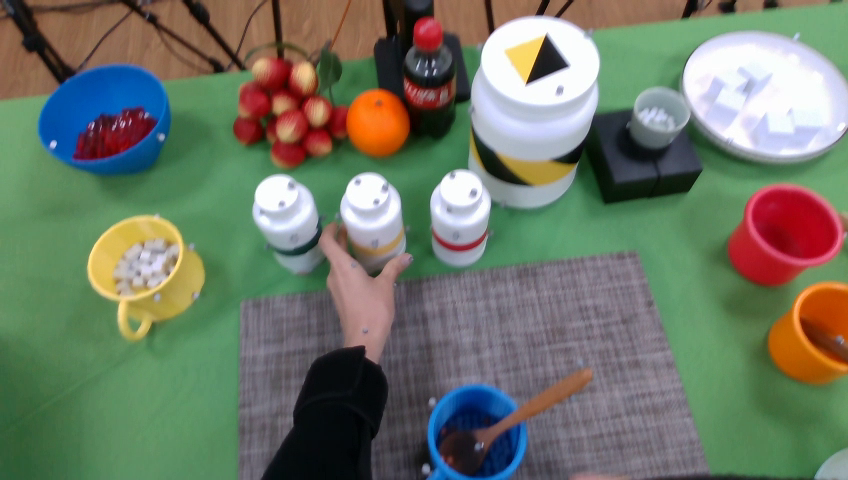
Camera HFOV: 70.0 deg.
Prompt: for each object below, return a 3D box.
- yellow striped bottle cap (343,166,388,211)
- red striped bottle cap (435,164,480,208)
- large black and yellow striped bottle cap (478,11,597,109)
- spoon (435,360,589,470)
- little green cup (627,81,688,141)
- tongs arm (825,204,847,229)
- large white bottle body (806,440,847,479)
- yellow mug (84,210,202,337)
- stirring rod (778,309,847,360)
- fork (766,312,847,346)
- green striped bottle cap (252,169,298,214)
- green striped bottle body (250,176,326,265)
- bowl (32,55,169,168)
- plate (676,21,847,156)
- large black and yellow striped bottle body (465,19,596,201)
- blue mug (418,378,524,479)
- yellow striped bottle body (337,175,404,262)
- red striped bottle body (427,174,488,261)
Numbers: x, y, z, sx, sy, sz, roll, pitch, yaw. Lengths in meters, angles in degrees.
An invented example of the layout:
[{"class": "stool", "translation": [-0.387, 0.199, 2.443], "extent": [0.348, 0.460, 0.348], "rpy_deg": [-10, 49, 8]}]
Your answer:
[{"class": "yellow striped bottle cap", "translation": [-0.059, -0.052, 0.604], "extent": [0.044, 0.019, 0.044], "rpy_deg": [0, 65, 1]}, {"class": "red striped bottle cap", "translation": [0.034, -0.054, 0.603], "extent": [0.044, 0.018, 0.044], "rpy_deg": [1, 61, -2]}, {"class": "large black and yellow striped bottle cap", "translation": [0.110, -0.178, 0.592], "extent": [0.115, 0.019, 0.114], "rpy_deg": [-1, 62, 2]}, {"class": "spoon", "translation": [0.069, 0.151, 0.513], "extent": [0.022, 0.194, 0.041], "rpy_deg": [-1, 56, -39]}, {"class": "little green cup", "translation": [0.263, -0.145, 0.690], "extent": [0.061, 0.039, 0.061], "rpy_deg": [0, 61, 0]}, {"class": "tongs arm", "translation": [0.611, 0.070, 0.631], "extent": [0.382, 0.027, 0.050], "rpy_deg": [41, 68, 19]}, {"class": "large white bottle body", "translation": [0.414, 0.211, 0.481], "extent": [0.130, 0.186, 0.129], "rpy_deg": [-1, 63, 1]}, {"class": "yellow mug", "translation": [-0.304, 0.040, 0.653], "extent": [0.100, 0.064, 0.130], "rpy_deg": [2, 64, 2]}, {"class": "stirring rod", "translation": [0.390, 0.104, 0.564], "extent": [0.014, 0.006, 0.175], "rpy_deg": [-4, 20, -4]}, {"class": "fork", "translation": [0.421, 0.101, 0.557], "extent": [0.028, 0.019, 0.206], "rpy_deg": [-44, 26, -18]}, {"class": "green striped bottle cap", "translation": [-0.149, -0.049, 0.605], "extent": [0.044, 0.020, 0.044], "rpy_deg": [-1, 62, 1]}, {"class": "green striped bottle body", "translation": [-0.146, -0.025, 0.652], "extent": [0.063, 0.120, 0.062], "rpy_deg": [0, 63, 1]}, {"class": "bowl", "translation": [-0.377, -0.142, 0.740], "extent": [0.151, 0.077, 0.150], "rpy_deg": [0, 63, 1]}, {"class": "plate", "translation": [0.421, -0.189, 0.765], "extent": [0.209, 0.038, 0.207], "rpy_deg": [0, 64, 1]}, {"class": "large black and yellow striped bottle body", "translation": [0.113, -0.141, 0.668], "extent": [0.131, 0.185, 0.129], "rpy_deg": [-1, 63, 2]}, {"class": "blue mug", "translation": [0.031, 0.189, 0.543], "extent": [0.116, 0.106, 0.082], "rpy_deg": [-42, 69, -18]}, {"class": "yellow striped bottle body", "translation": [-0.057, -0.028, 0.650], "extent": [0.063, 0.121, 0.062], "rpy_deg": [-1, 63, 3]}, {"class": "red striped bottle body", "translation": [0.037, -0.030, 0.649], "extent": [0.063, 0.120, 0.062], "rpy_deg": [-2, 62, 4]}]
